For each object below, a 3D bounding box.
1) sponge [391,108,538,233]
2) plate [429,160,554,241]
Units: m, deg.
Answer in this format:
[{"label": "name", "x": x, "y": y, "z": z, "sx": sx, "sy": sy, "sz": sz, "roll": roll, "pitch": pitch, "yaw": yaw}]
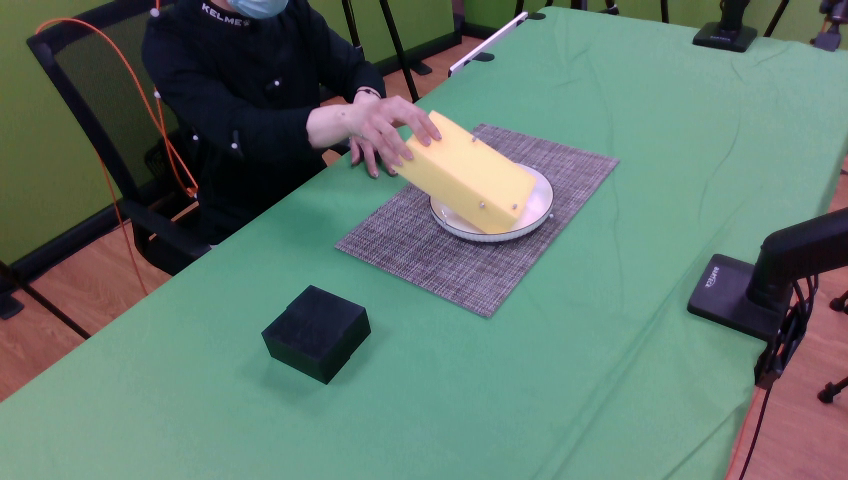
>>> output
[{"label": "sponge", "x": 0.066, "y": -0.105, "z": 0.958, "sx": 0.207, "sy": 0.061, "sz": 0.118, "roll": 33, "pitch": 46, "yaw": -3}, {"label": "plate", "x": 0.112, "y": -0.065, "z": 1.011, "sx": 0.207, "sy": 0.039, "sz": 0.206, "roll": -4, "pitch": 41, "yaw": 4}]
